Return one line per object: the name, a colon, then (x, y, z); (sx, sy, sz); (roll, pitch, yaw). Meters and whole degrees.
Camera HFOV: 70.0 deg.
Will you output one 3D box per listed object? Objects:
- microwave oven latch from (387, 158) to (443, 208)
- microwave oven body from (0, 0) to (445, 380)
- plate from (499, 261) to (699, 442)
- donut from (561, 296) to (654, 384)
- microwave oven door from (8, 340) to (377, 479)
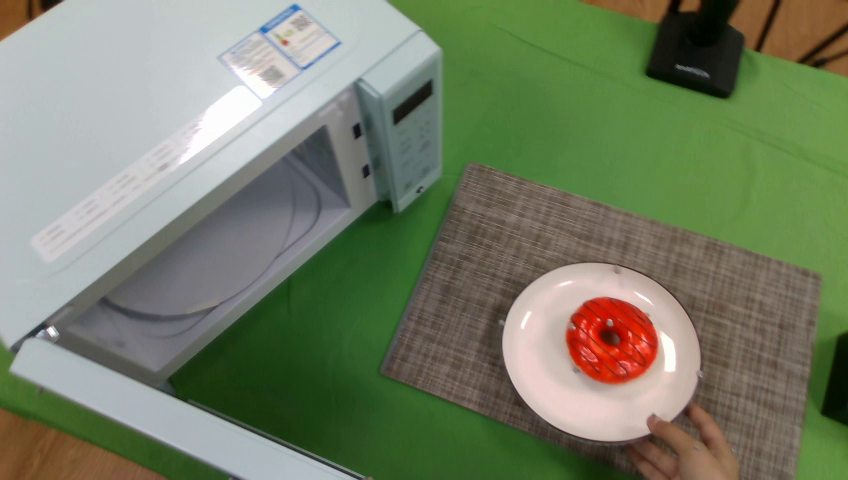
microwave oven latch: (-0.011, -0.077, 0.752); (0.079, 0.030, 0.030); (-42, 73, -15)
microwave oven body: (-0.243, -0.099, 0.658); (0.441, 0.262, 0.324); (-42, 73, -15)
plate: (0.188, 0.120, 0.665); (0.209, 0.038, 0.207); (-4, 57, 7)
donut: (0.198, 0.108, 0.658); (0.099, 0.049, 0.098); (-3, 59, 6)
microwave oven door: (-0.138, 0.188, 0.530); (0.355, 0.245, 0.039); (20, 68, 9)
